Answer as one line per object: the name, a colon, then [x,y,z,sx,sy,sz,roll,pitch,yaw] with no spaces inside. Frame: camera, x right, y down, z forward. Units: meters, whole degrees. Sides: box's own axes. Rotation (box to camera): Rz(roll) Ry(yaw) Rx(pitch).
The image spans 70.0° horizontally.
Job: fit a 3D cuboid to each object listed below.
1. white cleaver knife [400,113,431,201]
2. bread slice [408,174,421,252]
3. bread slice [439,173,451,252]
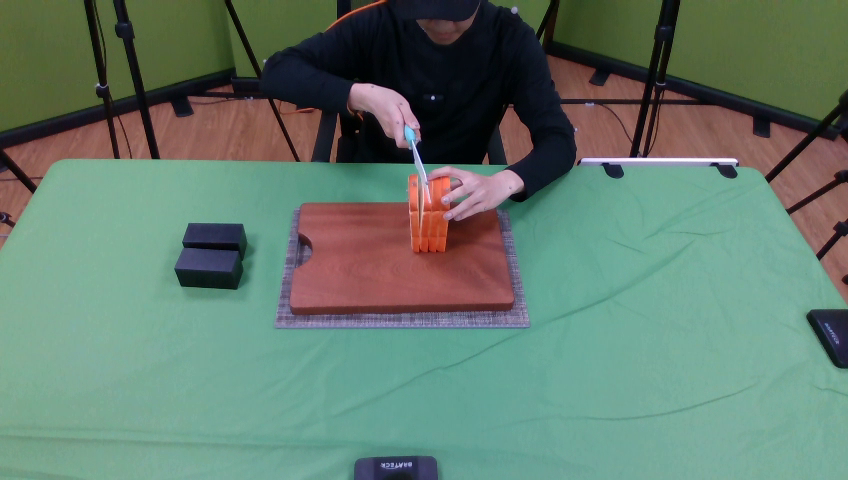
white cleaver knife: [-0.018,-0.159,1.122,0.021,0.066,0.284,-11,35,-2]
bread slice: [-0.017,-0.059,1.136,0.019,0.132,0.104,-3,44,1]
bread slice: [0.038,-0.056,1.137,0.018,0.135,0.106,-1,49,-1]
